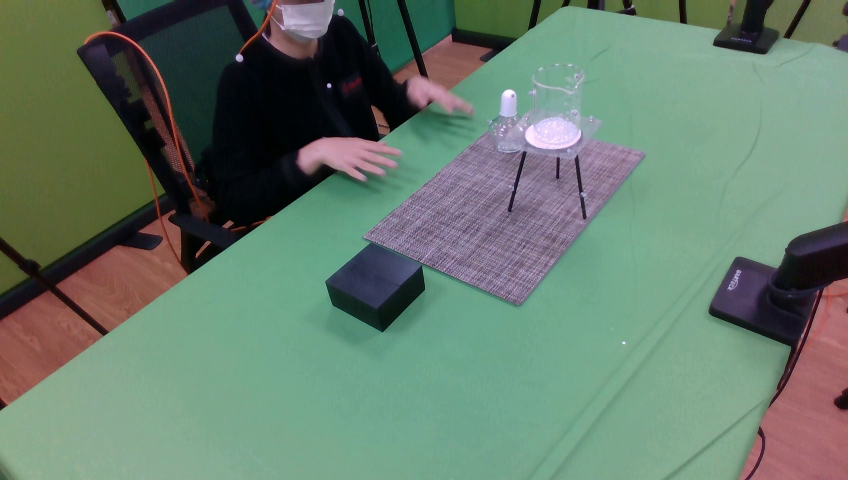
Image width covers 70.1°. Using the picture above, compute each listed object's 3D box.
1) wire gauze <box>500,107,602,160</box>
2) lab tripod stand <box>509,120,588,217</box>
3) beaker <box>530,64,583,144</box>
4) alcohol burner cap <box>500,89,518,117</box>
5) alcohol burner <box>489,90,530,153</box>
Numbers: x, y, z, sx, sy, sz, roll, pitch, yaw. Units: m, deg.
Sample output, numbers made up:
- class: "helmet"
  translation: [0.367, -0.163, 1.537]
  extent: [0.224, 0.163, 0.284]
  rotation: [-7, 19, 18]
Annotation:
- class: "wire gauze"
  translation: [0.199, -0.166, 0.945]
  extent: [0.120, 0.011, 0.125]
  rotation: [17, 50, 28]
- class: "lab tripod stand"
  translation: [0.207, -0.114, 0.983]
  extent: [0.148, 0.132, 0.147]
  rotation: [-5, 42, 5]
- class: "beaker"
  translation: [0.201, -0.201, 0.909]
  extent: [0.074, 0.101, 0.083]
  rotation: [-19, 43, -10]
- class: "alcohol burner cap"
  translation: [0.158, -0.254, 1.114]
  extent: [0.034, 0.048, 0.033]
  rotation: [-1, 38, 1]
- class: "alcohol burner"
  translation: [0.160, -0.226, 1.136]
  extent: [0.078, 0.119, 0.077]
  rotation: [-6, 41, 6]
